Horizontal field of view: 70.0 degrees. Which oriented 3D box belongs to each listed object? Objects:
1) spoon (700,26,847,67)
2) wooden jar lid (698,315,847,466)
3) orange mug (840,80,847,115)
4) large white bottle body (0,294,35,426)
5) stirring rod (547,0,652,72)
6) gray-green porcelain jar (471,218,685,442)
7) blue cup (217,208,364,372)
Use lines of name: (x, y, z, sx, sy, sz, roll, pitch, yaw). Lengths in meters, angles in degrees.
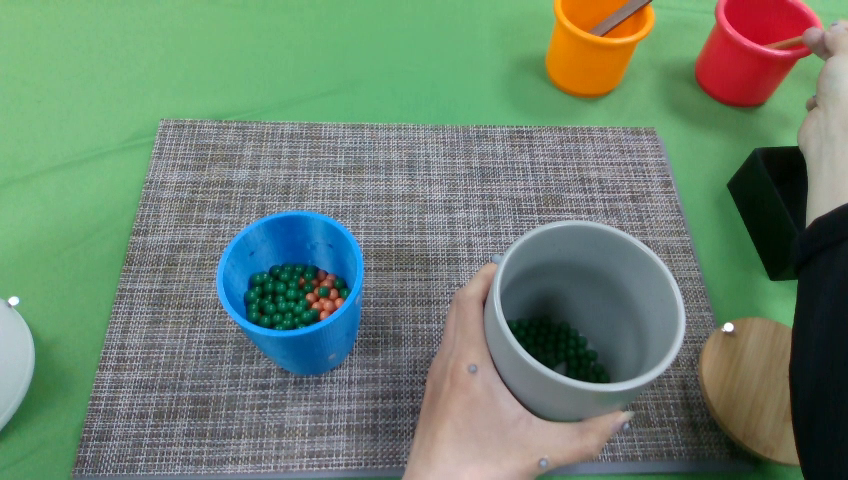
spoon: (0.342, -0.178, 0.543, 0.041, 0.022, 0.192, -40, 25, -24)
wooden jar lid: (0.245, 0.106, 0.432, 0.108, 0.021, 0.107, 4, 58, -6)
orange mug: (0.464, -0.143, 0.557, 0.083, 0.101, 0.125, -1, 54, -4)
large white bottle body: (-0.323, 0.046, 0.329, 0.131, 0.186, 0.129, 2, 58, -3)
stirring rod: (0.189, -0.212, 0.556, 0.176, 0.006, 0.014, -34, 60, 25)
gray-green porcelain jar: (0.086, 0.064, 0.380, 0.106, 0.127, 0.105, 2, 58, -3)
blue cup: (-0.079, 0.042, 0.396, 0.093, 0.101, 0.092, 1, 59, -2)
